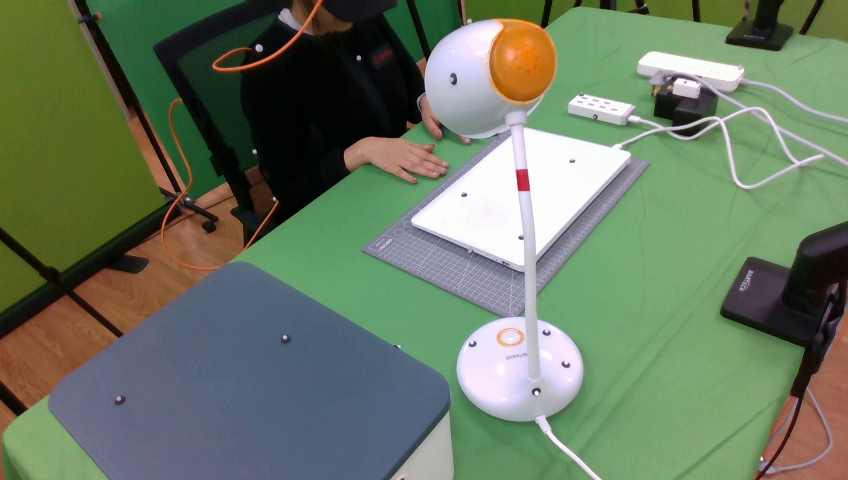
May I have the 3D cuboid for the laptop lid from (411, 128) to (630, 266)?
[{"bbox_3d":[0.172,-0.093,1.049,0.239,0.013,0.358,24,50,36],"label":"laptop lid"}]

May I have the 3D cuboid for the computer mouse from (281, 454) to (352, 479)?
[{"bbox_3d":[-0.110,0.278,0.656,0.116,0.041,0.063,20,51,36],"label":"computer mouse"}]

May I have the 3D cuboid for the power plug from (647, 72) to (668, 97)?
[{"bbox_3d":[0.494,-0.320,1.260,0.073,0.052,0.035,1,19,-40],"label":"power plug"}]

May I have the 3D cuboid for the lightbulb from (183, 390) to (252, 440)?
[{"bbox_3d":[-0.262,0.217,0.753,0.107,0.060,0.059,-10,35,32],"label":"lightbulb"}]

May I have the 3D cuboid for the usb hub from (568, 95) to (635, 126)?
[{"bbox_3d":[0.360,-0.263,1.228,0.124,0.025,0.049,24,49,34],"label":"usb hub"}]

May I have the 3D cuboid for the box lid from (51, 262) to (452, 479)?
[{"bbox_3d":[-0.182,0.156,0.610,0.368,0.015,0.264,23,49,34],"label":"box lid"}]

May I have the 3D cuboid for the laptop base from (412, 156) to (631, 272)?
[{"bbox_3d":[0.176,-0.084,1.055,0.233,0.023,0.355,21,48,36],"label":"laptop base"}]

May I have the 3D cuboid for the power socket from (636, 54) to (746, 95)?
[{"bbox_3d":[0.564,-0.357,1.293,0.225,0.033,0.072,24,51,33],"label":"power socket"}]

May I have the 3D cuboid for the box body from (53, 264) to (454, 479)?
[{"bbox_3d":[-0.173,0.212,0.660,0.361,0.161,0.255,23,50,33],"label":"box body"}]

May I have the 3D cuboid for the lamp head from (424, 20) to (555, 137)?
[{"bbox_3d":[0.069,-0.153,0.572,0.113,0.112,0.122,-21,16,-14],"label":"lamp head"}]

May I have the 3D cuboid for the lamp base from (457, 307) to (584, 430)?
[{"bbox_3d":[0.115,0.108,0.713,0.161,0.181,0.178,-16,43,-8],"label":"lamp base"}]

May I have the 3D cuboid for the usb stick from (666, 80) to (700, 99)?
[{"bbox_3d":[0.492,-0.288,1.152,0.058,0.027,0.021,20,50,34],"label":"usb stick"}]
